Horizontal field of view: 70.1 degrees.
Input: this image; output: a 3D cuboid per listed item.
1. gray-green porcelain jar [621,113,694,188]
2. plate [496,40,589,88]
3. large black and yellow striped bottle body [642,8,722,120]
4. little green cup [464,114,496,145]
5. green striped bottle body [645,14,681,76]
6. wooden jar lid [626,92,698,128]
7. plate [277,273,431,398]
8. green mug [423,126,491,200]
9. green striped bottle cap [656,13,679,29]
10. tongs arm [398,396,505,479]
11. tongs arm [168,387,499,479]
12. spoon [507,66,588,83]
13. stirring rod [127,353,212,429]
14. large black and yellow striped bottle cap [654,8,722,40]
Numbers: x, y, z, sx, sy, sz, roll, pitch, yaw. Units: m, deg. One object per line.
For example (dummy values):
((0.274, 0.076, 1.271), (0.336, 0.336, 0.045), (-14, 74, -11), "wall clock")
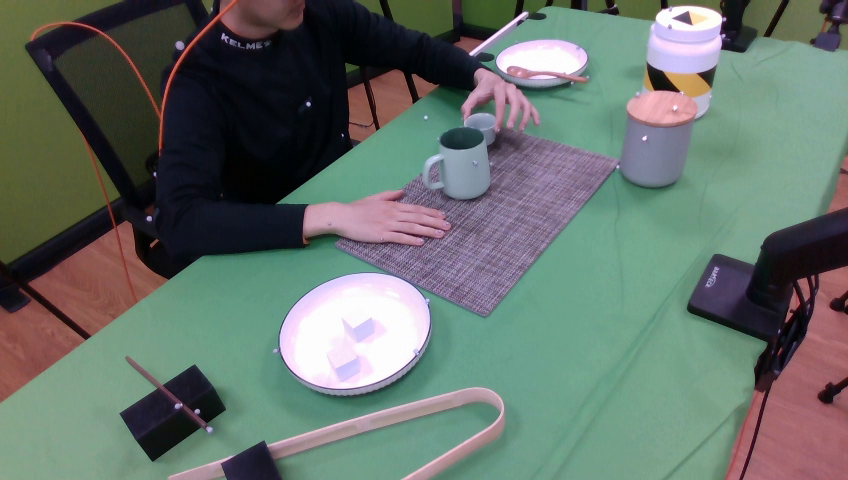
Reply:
((0.390, -0.161, 1.020), (0.106, 0.127, 0.105), (-4, 41, 4), "gray-green porcelain jar")
((0.268, -0.398, 1.381), (0.209, 0.038, 0.208), (-4, 41, 4), "plate")
((0.493, -0.334, 1.161), (0.131, 0.185, 0.130), (-4, 41, 4), "large black and yellow striped bottle body")
((0.105, -0.205, 1.132), (0.061, 0.039, 0.061), (-3, 43, 3), "little green cup")
((0.520, -0.424, 1.312), (0.063, 0.120, 0.063), (-4, 40, 4), "green striped bottle body")
((0.384, -0.207, 0.980), (0.108, 0.021, 0.108), (-6, 39, 5), "wooden jar lid")
((-0.091, 0.129, 0.821), (0.207, 0.039, 0.206), (-4, 41, 4), "plate")
((0.055, -0.125, 1.039), (0.126, 0.105, 0.091), (-25, 44, -19), "green mug")
((0.515, -0.463, 1.278), (0.044, 0.020, 0.044), (-6, 42, 6), "green striped bottle cap")
((-0.071, 0.272, 0.652), (0.386, 0.026, 0.050), (-21, 37, -17), "tongs arm")
((-0.100, 0.231, 0.711), (0.388, 0.028, 0.028), (-13, 32, -7), "tongs arm")
((0.265, -0.357, 1.311), (0.192, 0.022, 0.042), (18, 47, 38), "spoon")
((-0.311, 0.180, 0.731), (0.175, 0.014, 0.006), (25, 54, 31), "stirring rod")
((0.483, -0.397, 1.108), (0.115, 0.019, 0.114), (-3, 41, 3), "large black and yellow striped bottle cap")
